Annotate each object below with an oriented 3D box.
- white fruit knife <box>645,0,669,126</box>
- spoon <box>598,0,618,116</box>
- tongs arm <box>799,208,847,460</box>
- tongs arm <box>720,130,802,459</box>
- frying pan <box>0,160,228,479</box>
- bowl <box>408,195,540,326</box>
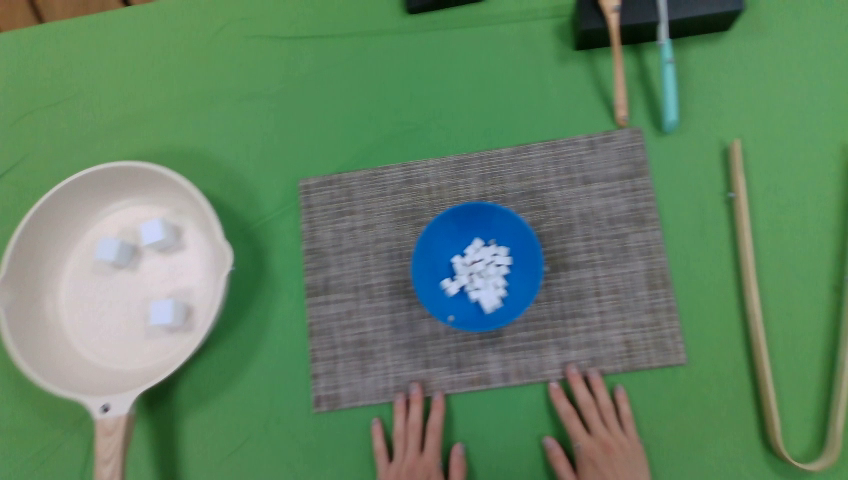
[{"bbox_3d":[0.285,-0.248,0.754,0.016,0.027,0.207,-8,93,-1],"label":"white fruit knife"},{"bbox_3d":[0.229,-0.253,0.755,0.041,0.022,0.194,3,100,28],"label":"spoon"},{"bbox_3d":[0.468,0.058,0.699,0.050,0.026,0.383,8,81,8],"label":"tongs arm"},{"bbox_3d":[0.388,0.055,0.712,0.028,0.028,0.385,-5,78,3],"label":"tongs arm"},{"bbox_3d":[-0.371,0.143,0.729,0.307,0.103,0.484,-9,70,5],"label":"frying pan"},{"bbox_3d":[0.059,0.030,0.719,0.151,0.077,0.150,-1,78,5],"label":"bowl"}]
